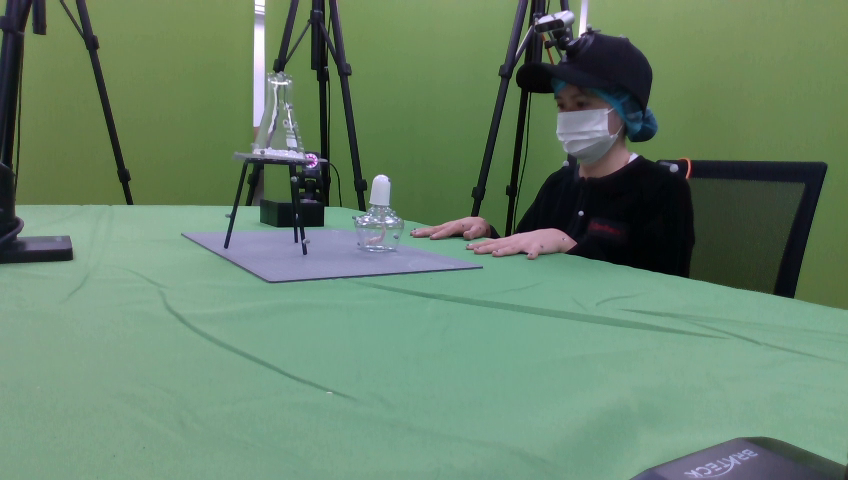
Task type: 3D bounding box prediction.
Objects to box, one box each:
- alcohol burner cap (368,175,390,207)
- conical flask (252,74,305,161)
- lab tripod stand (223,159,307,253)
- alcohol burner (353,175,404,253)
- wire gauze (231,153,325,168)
[{"bbox_3d":[-0.067,-0.075,0.923,0.034,0.048,0.034,8,11,-1],"label":"alcohol burner cap"},{"bbox_3d":[-0.211,-0.176,0.879,0.075,0.122,0.075,3,6,0],"label":"conical flask"},{"bbox_3d":[-0.220,-0.053,0.896,0.148,0.131,0.148,1,6,0],"label":"lab tripod stand"},{"bbox_3d":[-0.069,-0.040,0.927,0.078,0.119,0.078,1,9,0],"label":"alcohol burner"},{"bbox_3d":[-0.215,-0.117,0.882,0.125,0.011,0.121,3,7,-19],"label":"wire gauze"}]
